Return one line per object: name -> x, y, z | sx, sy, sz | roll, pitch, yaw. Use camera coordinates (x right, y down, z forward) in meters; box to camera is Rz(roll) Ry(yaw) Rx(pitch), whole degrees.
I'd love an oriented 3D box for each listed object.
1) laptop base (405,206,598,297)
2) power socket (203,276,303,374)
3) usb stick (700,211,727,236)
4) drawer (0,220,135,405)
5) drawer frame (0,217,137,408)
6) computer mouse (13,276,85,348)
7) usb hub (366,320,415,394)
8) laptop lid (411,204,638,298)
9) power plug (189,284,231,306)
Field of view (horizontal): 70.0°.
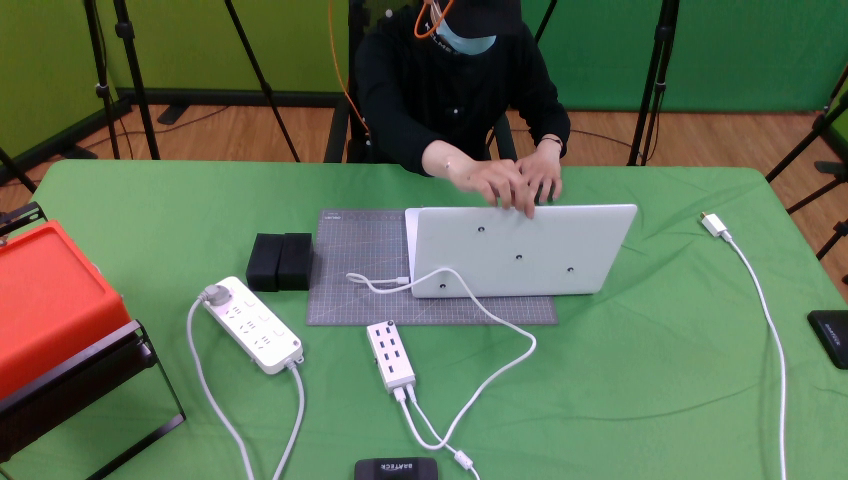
laptop base -> 0.143, 0.018, 1.196 | 0.355, 0.023, 0.234 | -1, 43, -6
power socket -> -0.296, 0.141, 1.034 | 0.072, 0.033, 0.225 | -35, 58, -30
usb stick -> 0.606, -0.038, 1.273 | 0.027, 0.021, 0.059 | -18, 56, -20
drawer -> -0.522, 0.093, 0.782 | 0.193, 0.073, 0.211 | 38, 55, 27
drawer frame -> -0.523, 0.094, 0.779 | 0.200, 0.083, 0.213 | 37, 55, 26
computer mouse -> -0.496, 0.090, 0.804 | 0.063, 0.041, 0.116 | -7, 42, -7
usb hub -> -0.056, 0.192, 1.009 | 0.049, 0.025, 0.124 | -12, 49, -16
laptop lid -> 0.159, 0.025, 1.023 | 0.357, 0.243, 0.013 | 0, 49, -7
power plug -> -0.368, 0.100, 1.037 | 0.072, 0.053, 0.035 | -24, 54, -26
